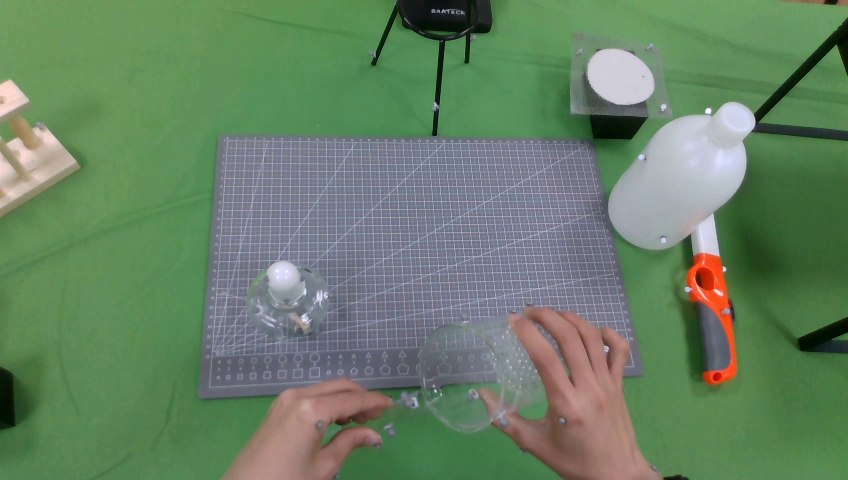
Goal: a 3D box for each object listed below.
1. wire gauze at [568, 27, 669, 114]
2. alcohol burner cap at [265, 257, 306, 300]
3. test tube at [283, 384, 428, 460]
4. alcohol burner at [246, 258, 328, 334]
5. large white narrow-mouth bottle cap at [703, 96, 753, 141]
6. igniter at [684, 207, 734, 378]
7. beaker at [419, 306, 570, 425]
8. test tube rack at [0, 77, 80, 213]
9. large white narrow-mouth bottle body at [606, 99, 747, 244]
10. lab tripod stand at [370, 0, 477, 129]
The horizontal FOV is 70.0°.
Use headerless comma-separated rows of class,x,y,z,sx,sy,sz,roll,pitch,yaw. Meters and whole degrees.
wire gauze,0.235,-0.207,0.742,0.121,0.011,0.124,6,65,-5
alcohol burner cap,-0.125,0.033,0.536,0.034,0.048,0.033,1,71,-4
test tube,-0.058,0.146,0.477,0.150,0.017,0.017,-30,66,27
alcohol burner,-0.129,0.046,0.570,0.078,0.120,0.077,4,64,-8
large white narrow-mouth bottle cap,0.281,-0.113,0.563,0.038,0.024,0.037,3,65,-6
igniter,0.320,0.022,0.694,0.057,0.025,0.274,12,64,-16
beaker,0.054,0.090,0.451,0.101,0.084,0.073,-3,57,-48
test tube rack,-0.476,-0.048,0.581,0.242,0.085,0.066,-41,77,-22
large white narrow-mouth bottle body,0.272,-0.076,0.640,0.102,0.196,0.101,3,65,-6
lab tripod stand,0.008,-0.226,0.704,0.149,0.132,0.147,4,66,-8
